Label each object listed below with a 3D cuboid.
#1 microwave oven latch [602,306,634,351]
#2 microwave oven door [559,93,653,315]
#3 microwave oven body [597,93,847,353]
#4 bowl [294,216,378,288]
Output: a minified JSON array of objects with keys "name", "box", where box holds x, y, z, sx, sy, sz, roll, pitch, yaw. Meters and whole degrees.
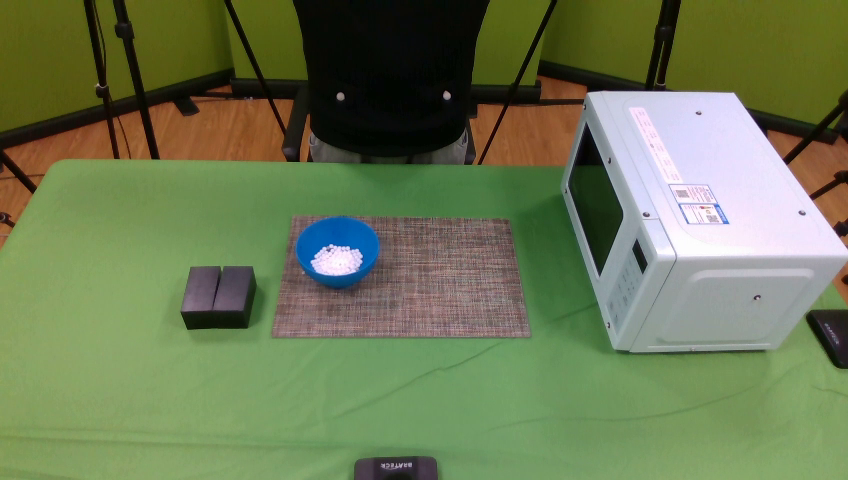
[{"name":"microwave oven latch","box":[0.332,0.153,1.044,0.030,0.029,0.078,0,45,-4]},{"name":"microwave oven door","box":[0.327,-0.074,1.123,0.039,0.245,0.353,-1,46,-5]},{"name":"microwave oven body","box":[0.475,-0.041,1.109,0.326,0.261,0.438,-1,45,-4]},{"name":"bowl","box":[-0.158,0.036,1.110,0.151,0.077,0.150,3,45,-2]}]
